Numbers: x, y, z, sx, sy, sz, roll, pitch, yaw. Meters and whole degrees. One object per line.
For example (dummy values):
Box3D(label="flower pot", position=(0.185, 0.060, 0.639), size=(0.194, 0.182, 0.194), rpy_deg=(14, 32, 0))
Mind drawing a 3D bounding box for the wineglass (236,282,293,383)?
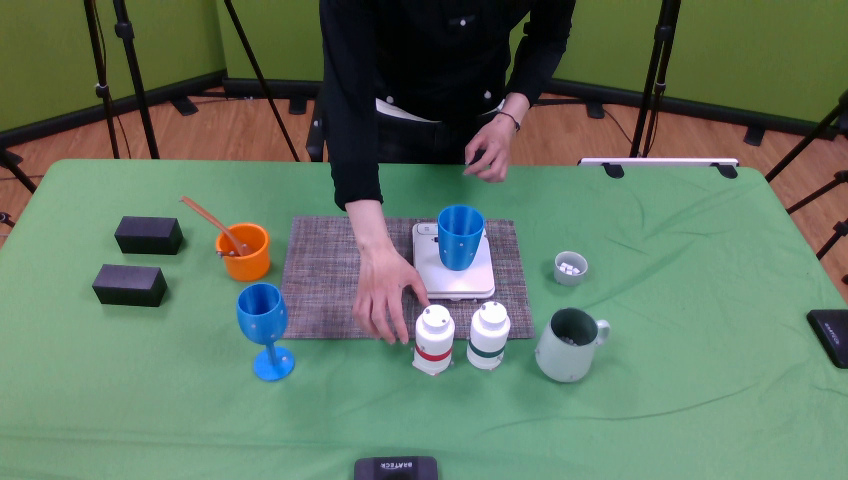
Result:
Box3D(label="wineglass", position=(-0.243, 0.143, 0.934), size=(0.074, 0.173, 0.073), rpy_deg=(2, 46, -2))

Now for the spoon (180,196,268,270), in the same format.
Box3D(label="spoon", position=(-0.359, -0.013, 1.094), size=(0.021, 0.194, 0.041), rpy_deg=(-29, 25, 30))

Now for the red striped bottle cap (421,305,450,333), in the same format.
Box3D(label="red striped bottle cap", position=(0.018, 0.122, 0.938), size=(0.044, 0.018, 0.044), rpy_deg=(3, 44, -3))

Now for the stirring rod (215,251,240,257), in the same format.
Box3D(label="stirring rod", position=(-0.339, 0.024, 1.059), size=(0.014, 0.176, 0.006), rpy_deg=(15, 86, -6))

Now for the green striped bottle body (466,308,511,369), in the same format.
Box3D(label="green striped bottle body", position=(0.105, 0.154, 0.987), size=(0.063, 0.120, 0.063), rpy_deg=(2, 46, -2))

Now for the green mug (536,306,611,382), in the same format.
Box3D(label="green mug", position=(0.250, 0.167, 0.996), size=(0.125, 0.105, 0.092), rpy_deg=(-15, 49, -19))

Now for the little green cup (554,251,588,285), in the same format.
Box3D(label="little green cup", position=(0.277, 0.055, 1.151), size=(0.061, 0.039, 0.061), rpy_deg=(1, 46, -1))

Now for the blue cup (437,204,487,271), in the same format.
Box3D(label="blue cup", position=(0.062, 0.001, 1.097), size=(0.093, 0.101, 0.092), rpy_deg=(2, 43, -2))

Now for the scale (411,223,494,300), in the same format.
Box3D(label="scale", position=(0.052, 0.031, 1.158), size=(0.149, 0.032, 0.199), rpy_deg=(0, 46, -4))

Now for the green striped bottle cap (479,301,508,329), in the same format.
Box3D(label="green striped bottle cap", position=(0.109, 0.118, 0.950), size=(0.044, 0.020, 0.044), rpy_deg=(2, 46, -2))

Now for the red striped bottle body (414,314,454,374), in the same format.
Box3D(label="red striped bottle body", position=(0.016, 0.158, 0.976), size=(0.063, 0.120, 0.062), rpy_deg=(1, 46, -1))
